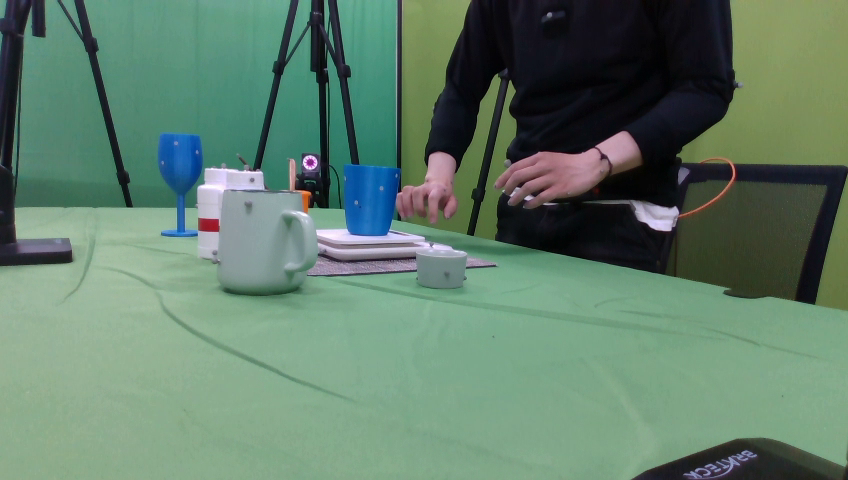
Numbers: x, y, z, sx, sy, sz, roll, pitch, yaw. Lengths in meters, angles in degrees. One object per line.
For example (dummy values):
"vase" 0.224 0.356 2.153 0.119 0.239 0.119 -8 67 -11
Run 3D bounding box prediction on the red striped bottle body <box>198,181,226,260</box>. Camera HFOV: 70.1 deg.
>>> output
"red striped bottle body" -0.275 -0.036 0.827 0.063 0.119 0.063 1 7 0

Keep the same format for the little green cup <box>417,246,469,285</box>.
"little green cup" 0.021 0.029 0.701 0.061 0.038 0.061 1 6 0

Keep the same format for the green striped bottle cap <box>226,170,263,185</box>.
"green striped bottle cap" -0.222 -0.077 0.748 0.044 0.020 0.044 1 7 0

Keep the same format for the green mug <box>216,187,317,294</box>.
"green mug" -0.157 0.000 0.629 0.124 0.105 0.093 7 9 37

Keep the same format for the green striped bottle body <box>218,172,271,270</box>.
"green striped bottle body" -0.223 -0.025 0.755 0.063 0.119 0.063 1 7 0

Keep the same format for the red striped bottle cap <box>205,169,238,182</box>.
"red striped bottle cap" -0.274 -0.088 0.821 0.044 0.017 0.044 -1 6 0

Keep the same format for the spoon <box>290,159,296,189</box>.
"spoon" -0.273 -0.102 1.252 0.042 0.193 0.021 7 -38 -17

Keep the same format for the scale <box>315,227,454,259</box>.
"scale" -0.066 0.001 0.906 0.202 0.031 0.148 -2 8 -31

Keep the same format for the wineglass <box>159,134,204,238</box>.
"wineglass" -0.415 -0.093 1.040 0.074 0.172 0.073 2 7 0

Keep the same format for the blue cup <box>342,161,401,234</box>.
"blue cup" -0.079 -0.062 0.882 0.093 0.100 0.092 4 6 0

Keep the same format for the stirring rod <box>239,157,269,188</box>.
"stirring rod" -0.309 -0.098 1.209 0.006 0.177 0.014 -39 29 -4
